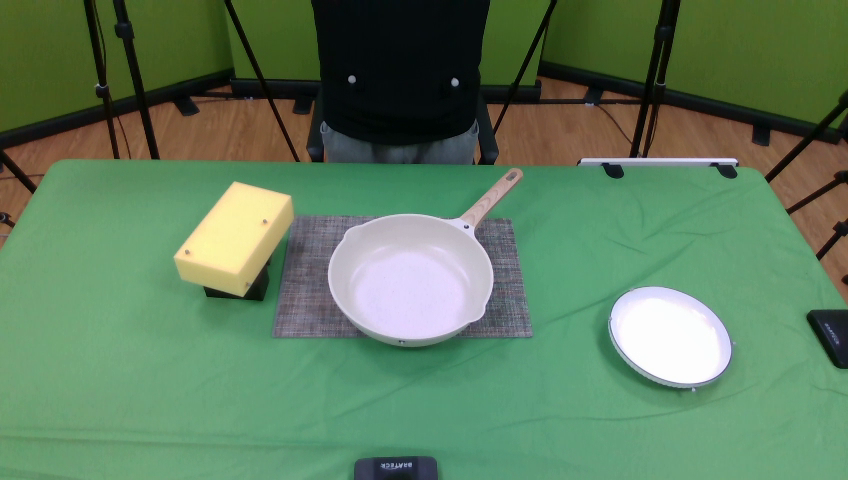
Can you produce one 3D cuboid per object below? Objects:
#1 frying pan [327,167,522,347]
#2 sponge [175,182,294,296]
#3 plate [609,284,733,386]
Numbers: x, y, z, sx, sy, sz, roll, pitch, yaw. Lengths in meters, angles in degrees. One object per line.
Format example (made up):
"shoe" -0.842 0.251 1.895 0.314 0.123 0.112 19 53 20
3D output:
"frying pan" 0.042 0.009 1.132 0.305 0.103 0.487 34 61 24
"sponge" -0.333 -0.007 1.086 0.118 0.061 0.206 13 47 9
"plate" 0.425 0.167 1.059 0.208 0.039 0.206 2 46 -2
